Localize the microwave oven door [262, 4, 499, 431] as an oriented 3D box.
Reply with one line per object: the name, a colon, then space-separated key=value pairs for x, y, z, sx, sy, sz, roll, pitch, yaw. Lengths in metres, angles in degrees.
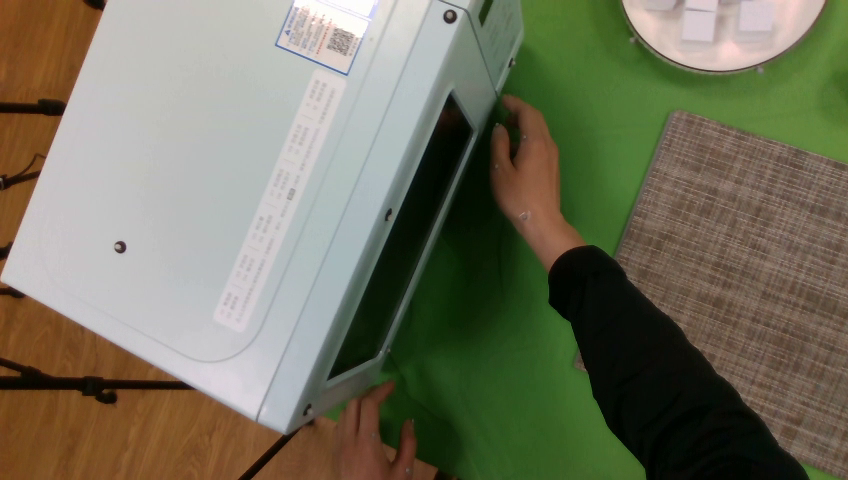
microwave oven door: x=-0.026 y=-0.011 z=0.578 sx=0.039 sy=0.244 sz=0.356 roll=24 pitch=93 yaw=12

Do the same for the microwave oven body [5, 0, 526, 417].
microwave oven body: x=-0.137 y=-0.109 z=0.609 sx=0.325 sy=0.261 sz=0.442 roll=24 pitch=94 yaw=11

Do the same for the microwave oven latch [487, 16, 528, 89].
microwave oven latch: x=0.086 y=-0.209 z=0.662 sx=0.030 sy=0.029 sz=0.079 roll=27 pitch=95 yaw=11

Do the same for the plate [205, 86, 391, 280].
plate: x=-0.135 y=-0.061 z=0.661 sx=0.209 sy=0.038 sz=0.209 roll=0 pitch=88 yaw=11

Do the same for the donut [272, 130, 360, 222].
donut: x=-0.115 y=-0.068 z=0.648 sx=0.099 sy=0.048 sz=0.099 roll=3 pitch=100 yaw=17

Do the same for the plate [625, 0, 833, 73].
plate: x=0.315 y=-0.275 z=0.634 sx=0.207 sy=0.039 sz=0.207 roll=0 pitch=89 yaw=12
